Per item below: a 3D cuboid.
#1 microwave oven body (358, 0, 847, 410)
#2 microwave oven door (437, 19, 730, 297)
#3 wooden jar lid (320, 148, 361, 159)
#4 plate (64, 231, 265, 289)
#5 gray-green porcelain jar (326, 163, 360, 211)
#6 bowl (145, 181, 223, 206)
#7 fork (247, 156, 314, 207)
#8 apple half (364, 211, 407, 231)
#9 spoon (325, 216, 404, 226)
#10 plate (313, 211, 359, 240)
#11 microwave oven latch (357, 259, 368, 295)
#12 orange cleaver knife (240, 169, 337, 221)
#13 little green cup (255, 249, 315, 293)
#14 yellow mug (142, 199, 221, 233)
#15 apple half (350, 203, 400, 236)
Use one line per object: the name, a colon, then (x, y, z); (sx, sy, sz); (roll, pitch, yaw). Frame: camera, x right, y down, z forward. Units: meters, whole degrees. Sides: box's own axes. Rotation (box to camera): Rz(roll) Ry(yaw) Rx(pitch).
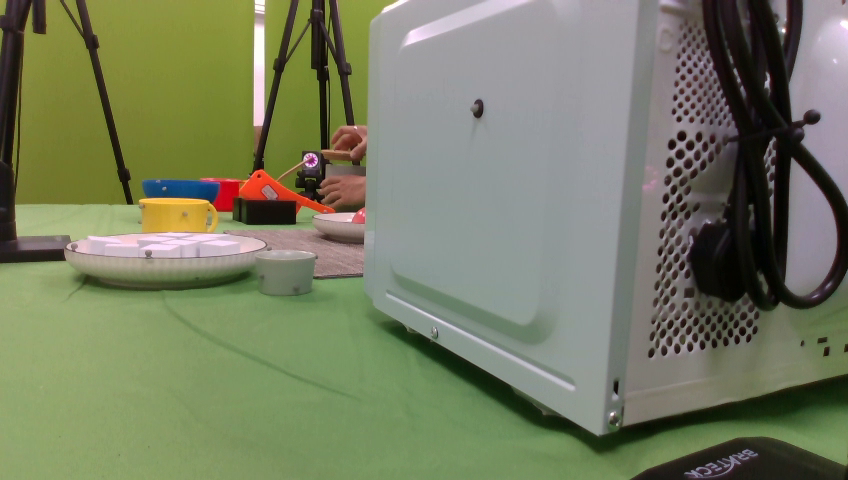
microwave oven body: (0.210, -0.051, 0.471); (0.444, 0.260, 0.324); (-1, 7, -28)
microwave oven door: (0.180, -0.076, 0.618); (0.358, 0.243, 0.039); (-2, 9, -28)
wooden jar lid: (-0.195, -0.210, 1.461); (0.108, 0.020, 0.108); (3, 12, 0)
plate: (-0.288, 0.021, 0.687); (0.208, 0.039, 0.207); (2, 8, 0)
gray-green porcelain jar: (-0.188, -0.125, 1.488); (0.106, 0.126, 0.106); (2, 8, 0)
bowl: (-0.499, -0.081, 1.261); (0.151, 0.077, 0.151); (2, 8, 0)
fork: (-0.360, -0.147, 1.523); (0.207, 0.018, 0.028); (-43, 16, -6)
apple half: (-0.068, -0.037, 1.104); (0.081, 0.033, 0.081); (-1, 9, 0)
spoon: (-0.120, -0.043, 1.273); (0.195, 0.021, 0.041); (-4, -9, -38)
plate: (-0.091, -0.026, 1.063); (0.209, 0.038, 0.209); (2, 7, 0)
microwave oven latch: (-0.019, 0.031, 0.529); (0.079, 0.029, 0.030); (-1, 7, -26)
orange cleaver knife: (-0.286, -0.082, 1.299); (0.212, 0.077, 0.012); (25, -2, -31)
little green cup: (-0.144, 0.032, 0.627); (0.061, 0.038, 0.061); (2, 6, 0)
yellow mug: (-0.372, -0.030, 0.947); (0.099, 0.064, 0.131); (6, 7, 30)
apple half: (-0.081, -0.036, 1.024); (0.081, 0.053, 0.074); (-2, 11, -34)
